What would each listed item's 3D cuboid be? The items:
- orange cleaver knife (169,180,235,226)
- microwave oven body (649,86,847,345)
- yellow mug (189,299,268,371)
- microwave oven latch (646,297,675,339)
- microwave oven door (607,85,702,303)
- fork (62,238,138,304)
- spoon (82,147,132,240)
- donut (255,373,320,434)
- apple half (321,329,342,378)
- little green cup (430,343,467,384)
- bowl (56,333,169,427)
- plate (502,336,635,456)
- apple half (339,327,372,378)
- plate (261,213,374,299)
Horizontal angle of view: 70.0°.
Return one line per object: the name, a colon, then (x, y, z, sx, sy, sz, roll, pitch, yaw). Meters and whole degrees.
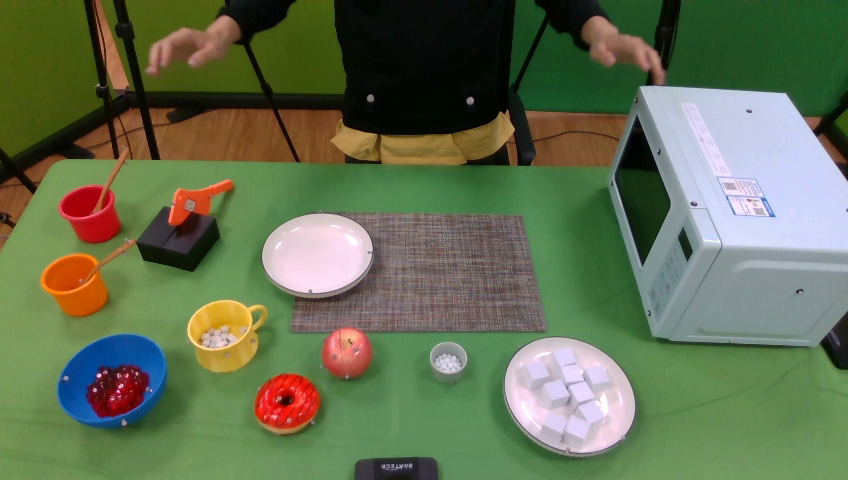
orange cleaver knife: (-0.436, -0.076, 1.199, 0.012, 0.077, 0.211, 17, 17, 9)
microwave oven body: (0.567, -0.053, 1.118, 0.326, 0.261, 0.439, 2, 45, -1)
yellow mug: (-0.316, 0.148, 1.002, 0.131, 0.064, 0.099, -33, 56, -31)
microwave oven latch: (0.412, 0.134, 1.061, 0.030, 0.029, 0.078, 4, 45, 1)
microwave oven door: (0.423, -0.094, 1.140, 0.039, 0.245, 0.353, 2, 46, -1)
fork: (-0.547, 0.053, 1.018, 0.207, 0.019, 0.028, -36, 41, 23)
spoon: (-0.602, -0.089, 1.156, 0.041, 0.022, 0.193, 27, 95, 19)
donut: (-0.209, 0.249, 0.928, 0.099, 0.048, 0.098, 3, 43, -3)
apple half: (-0.149, 0.186, 0.972, 0.033, 0.081, 0.080, -2, 46, -12)
little green cup: (0.039, 0.203, 0.994, 0.061, 0.039, 0.061, 2, 46, -2)
bowl: (-0.456, 0.223, 0.911, 0.151, 0.077, 0.150, 3, 45, -2)
plate: (0.225, 0.248, 0.963, 0.208, 0.039, 0.206, 2, 46, -2)
apple half: (-0.111, 0.182, 0.980, 0.053, 0.075, 0.080, -2, 42, -12)
plate: (-0.198, 0.032, 1.137, 0.209, 0.038, 0.208, 2, 46, -2)
